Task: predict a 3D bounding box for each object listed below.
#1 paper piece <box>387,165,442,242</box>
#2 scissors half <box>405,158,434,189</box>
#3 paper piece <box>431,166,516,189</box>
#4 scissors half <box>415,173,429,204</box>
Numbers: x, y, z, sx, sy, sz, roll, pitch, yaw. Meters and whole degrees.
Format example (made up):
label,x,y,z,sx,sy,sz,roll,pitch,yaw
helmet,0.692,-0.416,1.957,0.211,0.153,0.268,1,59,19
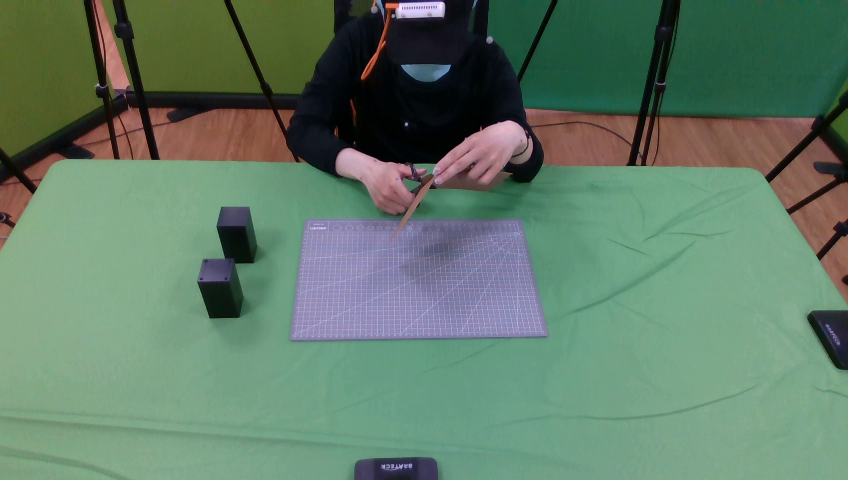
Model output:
label,x,y,z,sx,sy,sz,roll,pitch,yaw
paper piece,-0.020,-0.064,1.096,0.004,0.135,0.135,33,72,-7
scissors half,-0.009,-0.126,1.176,0.013,0.040,0.174,-27,29,-7
paper piece,0.084,-0.116,1.138,0.138,0.136,0.008,1,82,-16
scissors half,0.000,-0.104,1.180,0.013,0.175,0.040,-22,81,-8
